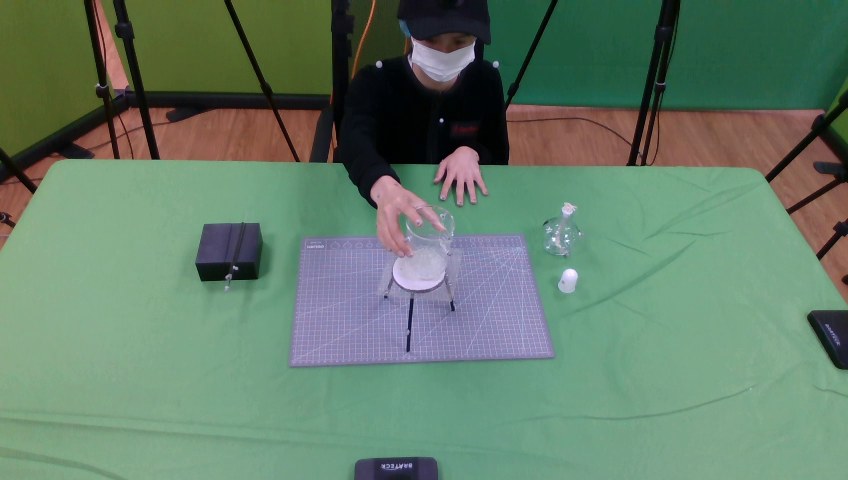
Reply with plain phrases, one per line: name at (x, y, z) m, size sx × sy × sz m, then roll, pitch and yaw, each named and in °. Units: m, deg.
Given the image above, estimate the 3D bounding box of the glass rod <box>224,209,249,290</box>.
glass rod at (-0.340, 0.013, 1.102) m, size 0.008 × 0.008 × 0.198 m, roll 2°, pitch 45°, yaw -3°

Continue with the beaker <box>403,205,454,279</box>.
beaker at (0.006, 0.008, 0.937) m, size 0.083 × 0.101 × 0.074 m, roll 38°, pitch 55°, yaw 26°

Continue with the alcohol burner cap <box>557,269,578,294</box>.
alcohol burner cap at (0.270, 0.075, 1.135) m, size 0.034 × 0.048 × 0.033 m, roll 3°, pitch 46°, yaw -2°

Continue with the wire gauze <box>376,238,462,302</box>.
wire gauze at (-0.006, 0.048, 0.977) m, size 0.121 × 0.011 × 0.124 m, roll 9°, pitch 46°, yaw 5°

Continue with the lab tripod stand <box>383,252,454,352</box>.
lab tripod stand at (-0.015, 0.094, 1.025) m, size 0.148 × 0.132 × 0.147 m, roll 1°, pitch 46°, yaw -1°

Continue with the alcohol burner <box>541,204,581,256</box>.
alcohol burner at (0.271, -0.026, 1.182) m, size 0.078 × 0.119 × 0.077 m, roll 4°, pitch 46°, yaw -3°
